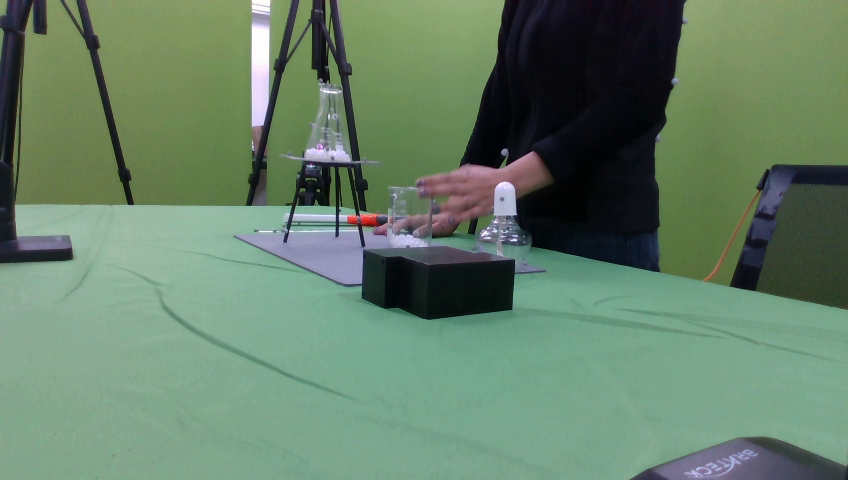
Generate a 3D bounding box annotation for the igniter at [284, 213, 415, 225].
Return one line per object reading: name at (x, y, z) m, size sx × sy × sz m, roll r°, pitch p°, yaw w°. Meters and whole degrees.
igniter at (-0.154, -0.045, 1.282) m, size 0.278 × 0.025 × 0.057 m, roll 0°, pitch -2°, yaw -20°

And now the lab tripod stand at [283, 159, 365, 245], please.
lab tripod stand at (-0.151, -0.063, 0.983) m, size 0.148 × 0.131 × 0.148 m, roll 4°, pitch 7°, yaw 0°

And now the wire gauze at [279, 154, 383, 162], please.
wire gauze at (-0.149, -0.128, 0.974) m, size 0.124 × 0.011 × 0.122 m, roll 6°, pitch 6°, yaw 41°

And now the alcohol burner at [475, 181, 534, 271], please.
alcohol burner at (0.108, -0.020, 0.804) m, size 0.078 × 0.119 × 0.078 m, roll 3°, pitch 5°, yaw 0°

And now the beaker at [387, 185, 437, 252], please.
beaker at (-0.023, -0.035, 0.941) m, size 0.074 × 0.100 × 0.083 m, roll -3°, pitch 8°, yaw -38°

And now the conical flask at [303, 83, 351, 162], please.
conical flask at (-0.152, -0.186, 0.963) m, size 0.075 × 0.122 × 0.075 m, roll 4°, pitch 6°, yaw 0°

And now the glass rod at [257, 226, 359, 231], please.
glass rod at (-0.216, -0.022, 1.152) m, size 0.201 × 0.008 × 0.008 m, roll -2°, pitch 8°, yaw -28°

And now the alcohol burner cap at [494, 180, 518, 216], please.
alcohol burner cap at (0.108, -0.055, 0.800) m, size 0.034 × 0.048 × 0.034 m, roll -2°, pitch 3°, yaw 0°
